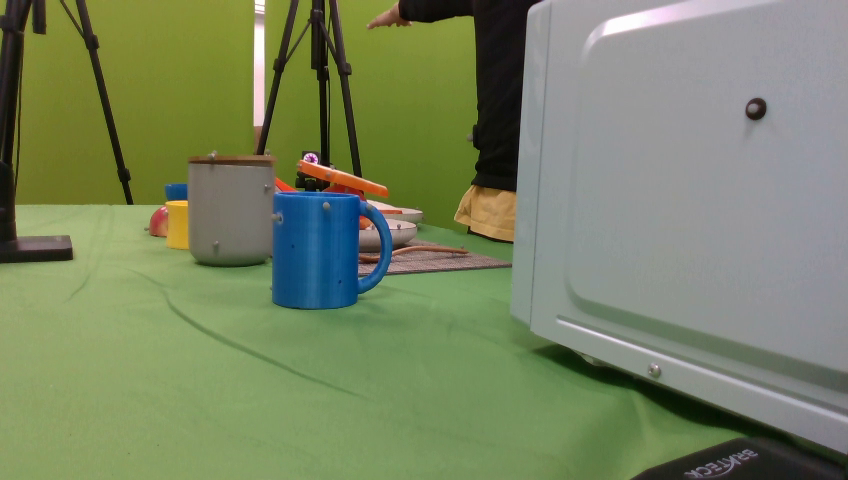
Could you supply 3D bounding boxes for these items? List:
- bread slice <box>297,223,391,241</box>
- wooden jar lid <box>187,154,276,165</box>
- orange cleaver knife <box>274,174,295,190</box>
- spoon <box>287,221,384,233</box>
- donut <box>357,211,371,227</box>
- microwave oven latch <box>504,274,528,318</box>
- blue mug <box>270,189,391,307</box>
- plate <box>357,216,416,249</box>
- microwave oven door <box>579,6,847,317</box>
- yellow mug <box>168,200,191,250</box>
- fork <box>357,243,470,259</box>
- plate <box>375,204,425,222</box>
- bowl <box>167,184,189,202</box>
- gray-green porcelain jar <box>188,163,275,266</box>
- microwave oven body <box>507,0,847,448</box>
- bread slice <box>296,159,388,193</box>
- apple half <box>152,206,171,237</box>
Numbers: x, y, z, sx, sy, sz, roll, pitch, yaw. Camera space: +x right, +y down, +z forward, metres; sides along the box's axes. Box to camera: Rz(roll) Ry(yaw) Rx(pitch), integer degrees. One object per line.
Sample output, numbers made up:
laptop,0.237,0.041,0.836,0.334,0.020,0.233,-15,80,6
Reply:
bread slice,-0.121,-0.015,0.970,0.106,0.018,0.135,9,9,40
wooden jar lid,-0.244,-0.097,0.771,0.108,0.020,0.108,-1,7,0
orange cleaver knife,-0.283,-0.087,1.343,0.212,0.077,0.012,23,-15,-41
spoon,-0.157,-0.027,1.110,0.195,0.021,0.041,-4,-14,-35
donut,-0.129,-0.041,0.956,0.099,0.048,0.099,2,8,0
microwave oven latch,0.100,0.041,0.471,0.079,0.029,0.030,-1,7,-27
blue mug,-0.090,0.005,0.588,0.117,0.106,0.082,1,7,-11
plate,-0.116,-0.014,0.967,0.208,0.039,0.207,2,7,0
microwave oven door,0.294,-0.067,0.570,0.358,0.243,0.039,-3,9,-31
yellow mug,-0.320,-0.023,0.904,0.130,0.064,0.100,8,10,36
fork,-0.017,0.014,0.845,0.208,0.018,0.028,-5,-1,-35
plate,-0.102,-0.053,1.299,0.209,0.038,0.209,2,8,0
bowl,-0.408,-0.064,1.154,0.151,0.077,0.151,2,8,0
gray-green porcelain jar,-0.246,-0.034,0.779,0.106,0.126,0.106,1,7,0
microwave oven body,0.331,-0.042,0.425,0.444,0.260,0.324,-2,8,-31
bread slice,-0.132,-0.102,0.952,0.132,0.019,0.104,13,6,-36
apple half,-0.415,-0.034,1.017,0.081,0.053,0.074,1,10,-9
